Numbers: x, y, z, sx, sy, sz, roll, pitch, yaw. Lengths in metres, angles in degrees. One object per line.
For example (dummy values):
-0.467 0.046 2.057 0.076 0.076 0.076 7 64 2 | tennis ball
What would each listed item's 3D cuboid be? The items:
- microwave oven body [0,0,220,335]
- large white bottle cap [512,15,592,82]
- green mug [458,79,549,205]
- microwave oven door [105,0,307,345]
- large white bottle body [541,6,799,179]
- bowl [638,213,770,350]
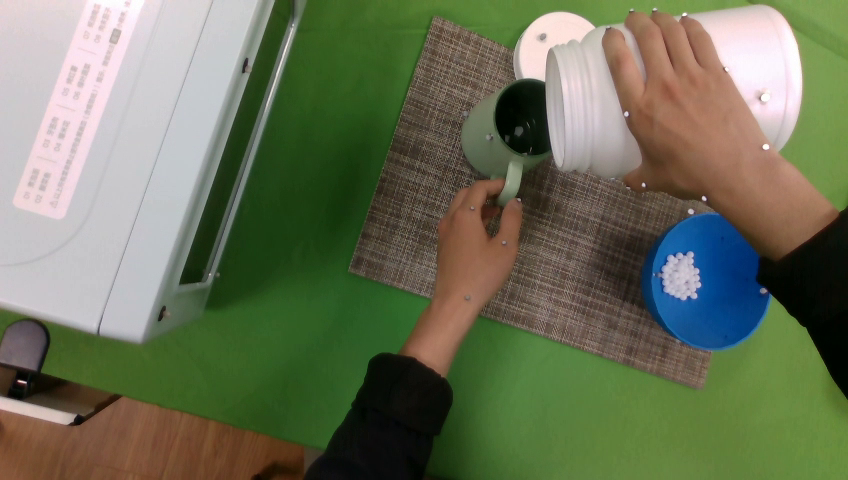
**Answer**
-0.285 -0.185 0.476 0.327 0.259 0.441 18 85 -12 | microwave oven body
0.158 -0.202 0.699 0.115 0.018 0.114 2 84 -13 | large white bottle cap
0.087 -0.099 0.636 0.093 0.105 0.125 11 85 -13 | green mug
-0.160 -0.100 0.497 0.039 0.243 0.355 17 84 -11 | microwave oven door
0.202 -0.123 0.529 0.184 0.131 0.130 -7 89 5 | large white bottle body
0.303 0.046 0.693 0.152 0.076 0.151 1 87 -12 | bowl
